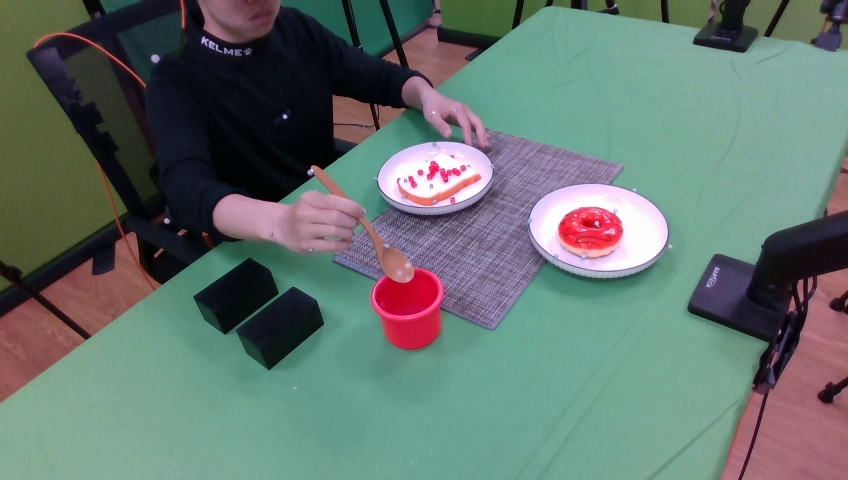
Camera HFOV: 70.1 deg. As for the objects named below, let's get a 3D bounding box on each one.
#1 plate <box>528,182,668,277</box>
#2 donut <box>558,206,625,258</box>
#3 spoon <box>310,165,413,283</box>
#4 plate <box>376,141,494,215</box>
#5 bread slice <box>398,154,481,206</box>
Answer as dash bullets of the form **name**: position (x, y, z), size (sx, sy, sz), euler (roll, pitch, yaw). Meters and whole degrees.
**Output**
- **plate**: position (0.264, -0.014, 0.933), size (0.207, 0.039, 0.206), euler (-3, 42, 3)
- **donut**: position (0.254, -0.015, 0.917), size (0.099, 0.048, 0.098), euler (-5, 41, 5)
- **spoon**: position (-0.076, -0.019, 0.759), size (0.021, 0.195, 0.041), euler (-8, 36, 46)
- **plate**: position (0.021, -0.106, 1.073), size (0.209, 0.038, 0.208), euler (-4, 40, 4)
- **bread slice**: position (0.021, -0.107, 1.077), size (0.132, 0.019, 0.104), euler (-32, 46, -28)
